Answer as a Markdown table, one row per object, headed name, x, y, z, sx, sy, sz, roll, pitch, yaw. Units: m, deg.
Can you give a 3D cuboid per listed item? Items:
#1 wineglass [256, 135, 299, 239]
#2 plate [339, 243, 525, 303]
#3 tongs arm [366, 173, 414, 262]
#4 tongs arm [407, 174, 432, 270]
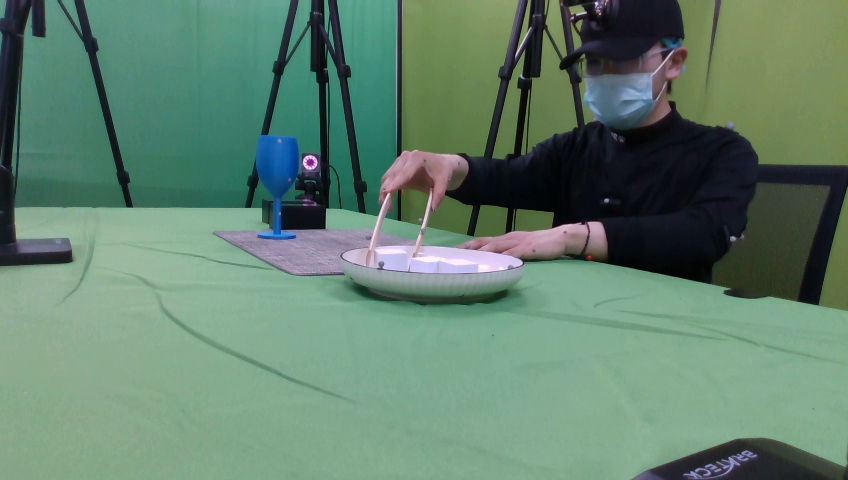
| name | x | y | z | sx | sy | sz | roll | pitch | yaw |
| --- | --- | --- | --- | --- | --- | --- | --- | --- | --- |
| wineglass | -0.252 | -0.091 | 1.035 | 0.074 | 0.172 | 0.073 | 2 | 7 | 0 |
| plate | 0.008 | 0.035 | 0.682 | 0.209 | 0.038 | 0.209 | 3 | 7 | 0 |
| tongs arm | -0.046 | -0.045 | 0.857 | 0.028 | 0.028 | 0.387 | 8 | 18 | 2 |
| tongs arm | -0.016 | -0.039 | 0.857 | 0.051 | 0.026 | 0.385 | 12 | 19 | 3 |
